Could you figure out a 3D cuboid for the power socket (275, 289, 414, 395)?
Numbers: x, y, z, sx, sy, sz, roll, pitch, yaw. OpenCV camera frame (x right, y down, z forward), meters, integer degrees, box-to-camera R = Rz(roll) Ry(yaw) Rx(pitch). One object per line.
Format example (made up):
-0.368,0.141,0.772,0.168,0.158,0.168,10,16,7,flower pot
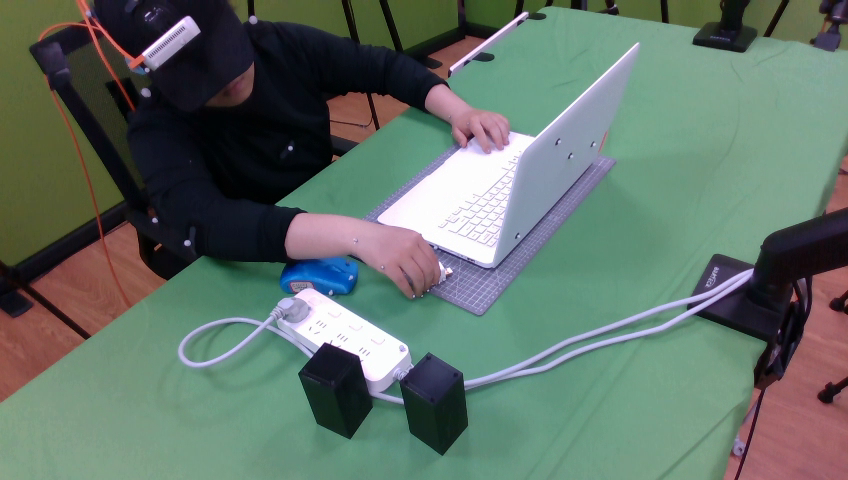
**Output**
-0.115,0.133,0.820,0.225,0.033,0.072,25,49,32,power socket

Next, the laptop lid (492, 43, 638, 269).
0.216,-0.129,0.911,0.013,0.242,0.358,32,51,21,laptop lid

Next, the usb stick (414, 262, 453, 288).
0.015,0.050,0.899,0.059,0.027,0.021,-12,44,-17,usb stick

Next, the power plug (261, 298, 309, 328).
-0.193,0.108,0.830,0.073,0.053,0.035,-33,43,-27,power plug

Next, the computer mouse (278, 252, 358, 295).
-0.161,0.051,0.921,0.117,0.041,0.062,6,39,6,computer mouse

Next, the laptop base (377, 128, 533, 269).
0.115,-0.088,1.059,0.233,0.023,0.355,20,47,33,laptop base
